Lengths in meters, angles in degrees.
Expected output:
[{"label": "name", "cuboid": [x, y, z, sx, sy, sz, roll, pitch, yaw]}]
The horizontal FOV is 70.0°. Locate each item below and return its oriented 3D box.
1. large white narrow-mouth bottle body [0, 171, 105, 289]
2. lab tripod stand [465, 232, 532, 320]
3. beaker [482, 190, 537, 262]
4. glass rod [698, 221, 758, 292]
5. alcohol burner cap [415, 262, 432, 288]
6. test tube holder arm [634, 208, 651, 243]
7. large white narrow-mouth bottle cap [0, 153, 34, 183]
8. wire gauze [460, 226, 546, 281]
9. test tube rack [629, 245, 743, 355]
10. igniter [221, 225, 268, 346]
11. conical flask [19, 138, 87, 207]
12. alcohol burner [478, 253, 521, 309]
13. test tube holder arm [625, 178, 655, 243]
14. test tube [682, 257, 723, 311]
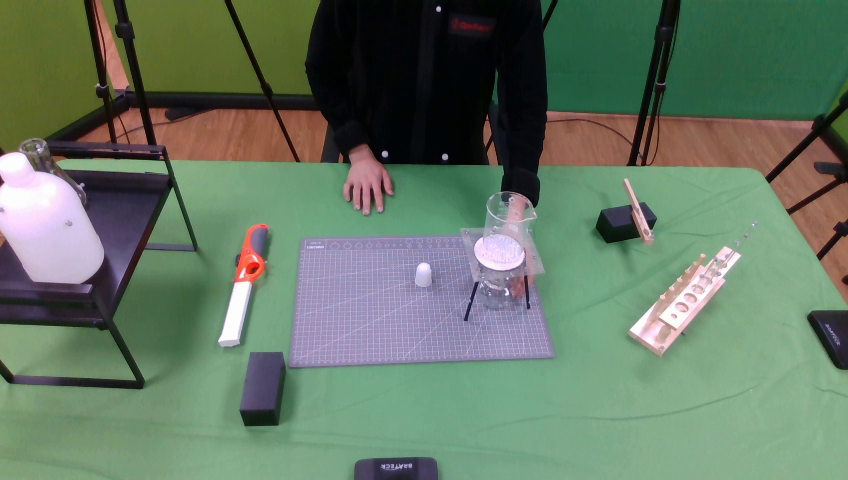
[{"label": "large white narrow-mouth bottle body", "cuboid": [-0.513, -0.029, 0.818, 0.102, 0.195, 0.101, 2, 46, -2]}, {"label": "lab tripod stand", "cuboid": [0.124, 0.059, 1.065, 0.148, 0.132, 0.147, 1, 45, 0]}, {"label": "beaker", "cuboid": [0.136, -0.019, 0.983, 0.084, 0.101, 0.073, 17, 47, 14]}, {"label": "glass rod", "cuboid": [0.527, 0.035, 1.059, 0.008, 0.200, 0.008, 5, 49, -6]}, {"label": "alcohol burner cap", "cuboid": [0.000, 0.061, 1.119, 0.034, 0.048, 0.033, 3, 43, -3]}, {"label": "test tube holder arm", "cuboid": [0.428, -0.030, 1.189, 0.010, 0.015, 0.087, 1, 47, -2]}, {"label": "large white narrow-mouth bottle cap", "cuboid": [-0.510, -0.090, 0.754, 0.038, 0.024, 0.037, 2, 46, -2]}, {"label": "wire gauze", "cuboid": [0.130, 0.017, 1.016, 0.121, 0.011, 0.124, -4, 43, -9]}, {"label": "test tube rack", "cuboid": [0.474, 0.095, 1.091, 0.242, 0.085, 0.066, -34, 56, -31]}, {"label": "igniter", "cuboid": [-0.323, 0.072, 1.100, 0.057, 0.025, 0.274, -6, 45, 5]}, {"label": "conical flask", "cuboid": [-0.576, -0.097, 0.930, 0.075, 0.122, 0.075, 2, 46, -2]}, {"label": "alcohol burner", "cuboid": [0.134, 0.066, 1.073, 0.078, 0.120, 0.077, 0, 47, 0]}, {"label": "test tube holder arm", "cuboid": [0.433, -0.062, 1.220, 0.013, 0.015, 0.177, 0, 47, -2]}, {"label": "test tube", "cuboid": [0.475, 0.080, 1.037, 0.017, 0.151, 0.017, 1, 50, -1]}]
